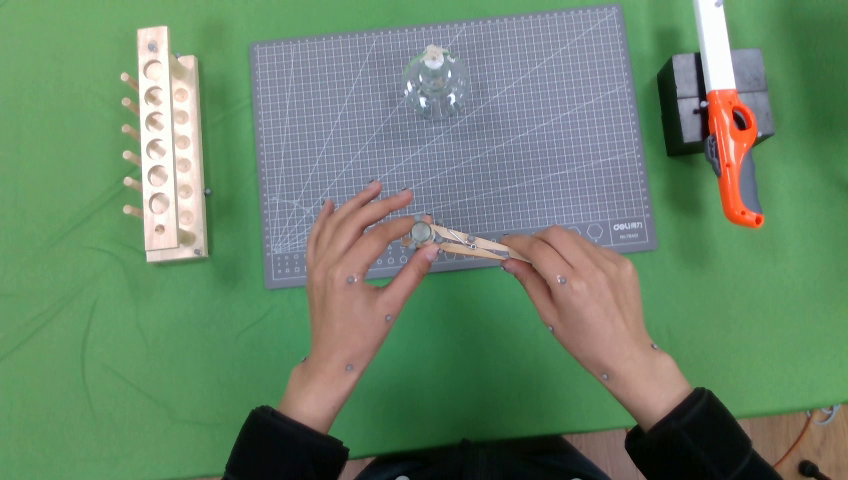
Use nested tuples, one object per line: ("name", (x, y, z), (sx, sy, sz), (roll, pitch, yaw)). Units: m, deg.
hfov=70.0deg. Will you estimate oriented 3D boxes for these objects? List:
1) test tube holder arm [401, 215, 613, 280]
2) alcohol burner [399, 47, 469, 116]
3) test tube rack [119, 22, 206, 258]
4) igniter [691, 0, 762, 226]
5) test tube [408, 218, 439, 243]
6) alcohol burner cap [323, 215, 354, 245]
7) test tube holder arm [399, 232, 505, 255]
("test tube holder arm", (0.069, 0.006, 0.500), (0.178, 0.015, 0.013), (13, 96, 0))
("alcohol burner", (0.010, -0.181, 0.663), (0.078, 0.119, 0.077), (0, 83, 3))
("test tube rack", (-0.297, -0.107, 0.677), (0.067, 0.085, 0.241), (-6, 82, 1))
("igniter", (0.321, -0.149, 0.651), (0.057, 0.025, 0.275), (-4, 80, -2))
("test tube", (0.001, -0.005, 0.494), (0.017, 0.150, 0.017), (0, 88, 4))
("alcohol burner cap", (-0.098, -0.014, 0.679), (0.034, 0.048, 0.033), (0, 82, 0))
("test tube holder arm", (0.023, 0.003, 0.501), (0.088, 0.015, 0.010), (6, 95, 1))
